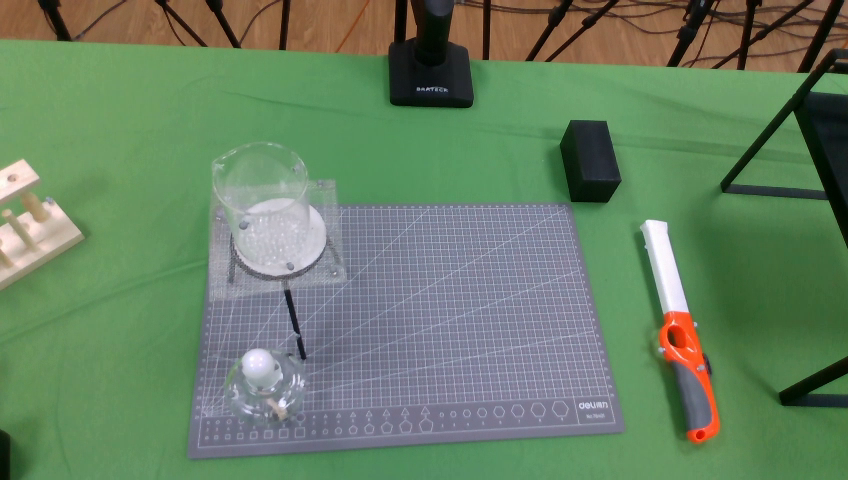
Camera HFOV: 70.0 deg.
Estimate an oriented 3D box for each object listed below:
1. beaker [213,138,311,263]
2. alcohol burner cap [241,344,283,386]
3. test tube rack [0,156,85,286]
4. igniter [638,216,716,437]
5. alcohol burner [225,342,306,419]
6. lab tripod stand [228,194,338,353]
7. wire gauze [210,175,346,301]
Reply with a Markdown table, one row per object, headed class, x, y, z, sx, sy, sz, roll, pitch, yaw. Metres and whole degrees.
| class | x | y | z | sx | sy | sz | roll | pitch | yaw |
| --- | --- | --- | --- | --- | --- | --- | --- | --- | --- |
| beaker | -0.140 | -0.031 | 0.533 | 0.084 | 0.101 | 0.073 | 21 | 60 | 5 |
| alcohol burner cap | -0.149 | 0.112 | 0.551 | 0.034 | 0.048 | 0.033 | 1 | 64 | -2 |
| test tube rack | -0.495 | 0.020 | 0.624 | 0.066 | 0.086 | 0.242 | 42 | 64 | 17 |
| igniter | 0.295 | 0.091 | 0.713 | 0.057 | 0.025 | 0.274 | 8 | 58 | -14 |
| alcohol burner | -0.153 | 0.129 | 0.583 | 0.078 | 0.120 | 0.077 | 4 | 58 | -6 |
| lab tripod stand | -0.144 | 0.029 | 0.631 | 0.149 | 0.132 | 0.147 | 4 | 60 | -7 |
| wire gauze | -0.141 | -0.008 | 0.577 | 0.122 | 0.011 | 0.124 | -6 | 64 | -9 |
